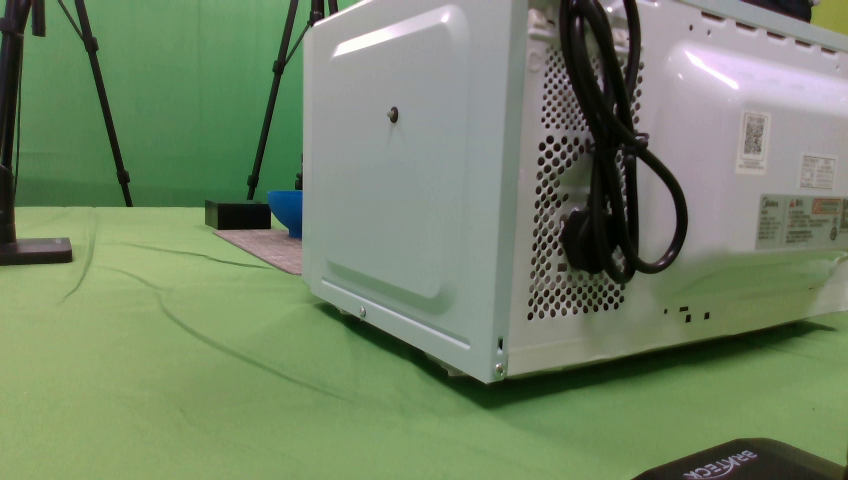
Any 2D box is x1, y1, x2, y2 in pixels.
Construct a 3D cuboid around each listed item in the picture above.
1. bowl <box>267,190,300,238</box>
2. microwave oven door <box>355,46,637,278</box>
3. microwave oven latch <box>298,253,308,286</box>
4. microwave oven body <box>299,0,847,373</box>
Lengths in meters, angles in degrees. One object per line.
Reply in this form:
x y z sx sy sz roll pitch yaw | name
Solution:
-0.202 -0.046 1.070 0.151 0.077 0.151 3 7 0 | bowl
0.097 -0.083 0.709 0.357 0.243 0.039 -1 8 -24 | microwave oven door
-0.081 0.027 0.582 0.079 0.029 0.030 -1 7 -32 | microwave oven latch
0.151 -0.055 0.543 0.444 0.260 0.324 -2 7 -33 | microwave oven body
